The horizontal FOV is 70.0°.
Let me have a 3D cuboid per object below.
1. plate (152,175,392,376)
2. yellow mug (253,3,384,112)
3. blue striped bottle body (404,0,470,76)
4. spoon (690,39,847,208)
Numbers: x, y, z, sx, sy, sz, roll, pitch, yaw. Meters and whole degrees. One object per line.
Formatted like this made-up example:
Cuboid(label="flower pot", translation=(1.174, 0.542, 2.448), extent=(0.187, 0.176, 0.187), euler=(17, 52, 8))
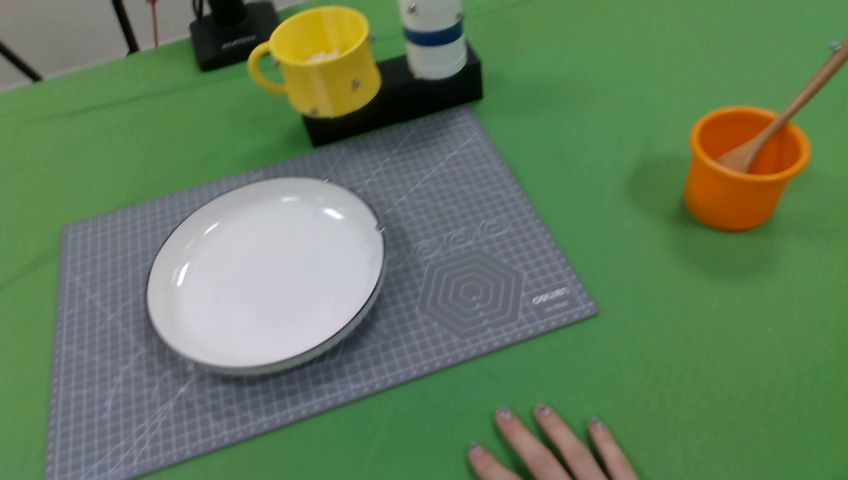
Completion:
Cuboid(label="plate", translation=(-0.128, 0.028, 0.533), extent=(0.207, 0.039, 0.205), euler=(-4, 51, 5))
Cuboid(label="yellow mug", translation=(-0.111, -0.185, 0.621), extent=(0.131, 0.064, 0.099), euler=(-8, 50, 3))
Cuboid(label="blue striped bottle body", translation=(0.012, -0.232, 0.605), extent=(0.063, 0.122, 0.062), euler=(-4, 51, 6))
Cuboid(label="spoon", translation=(0.297, -0.104, 0.503), extent=(0.194, 0.022, 0.041), euler=(-50, 48, 20))
